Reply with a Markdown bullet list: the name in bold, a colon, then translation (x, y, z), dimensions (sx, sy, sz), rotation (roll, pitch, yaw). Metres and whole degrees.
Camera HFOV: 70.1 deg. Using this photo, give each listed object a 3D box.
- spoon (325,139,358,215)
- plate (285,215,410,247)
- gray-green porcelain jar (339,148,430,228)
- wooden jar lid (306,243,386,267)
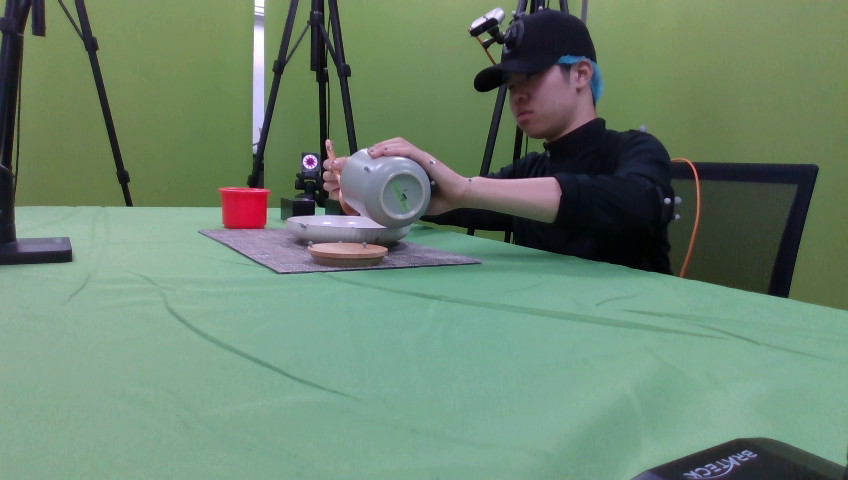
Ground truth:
- **spoon**: translation (-0.147, -0.113, 1.034), dimensions (0.042, 0.021, 0.193), rotation (8, 38, -34)
- **plate**: translation (-0.127, -0.015, 1.012), dimensions (0.208, 0.039, 0.207), rotation (3, 7, 0)
- **gray-green porcelain jar**: translation (-0.058, -0.078, 0.899), dimensions (0.106, 0.106, 0.126), rotation (-1, 15, -27)
- **wooden jar lid**: translation (-0.105, 0.020, 0.816), dimensions (0.108, 0.020, 0.108), rotation (1, 7, 0)
